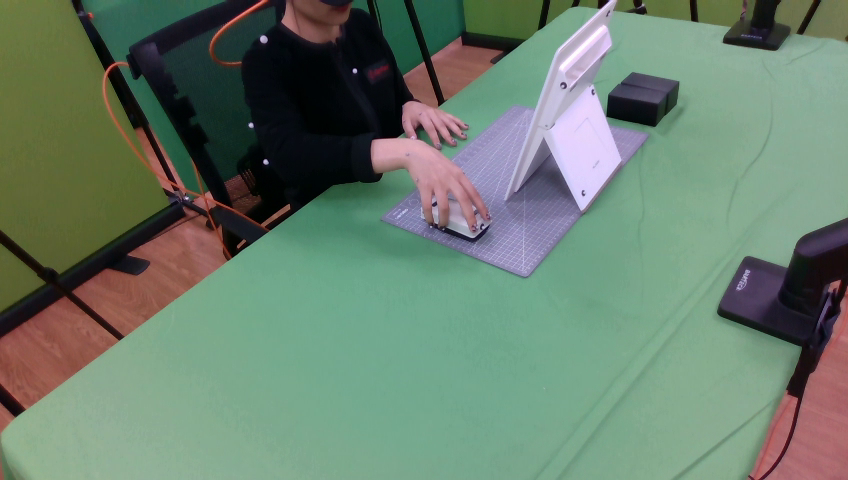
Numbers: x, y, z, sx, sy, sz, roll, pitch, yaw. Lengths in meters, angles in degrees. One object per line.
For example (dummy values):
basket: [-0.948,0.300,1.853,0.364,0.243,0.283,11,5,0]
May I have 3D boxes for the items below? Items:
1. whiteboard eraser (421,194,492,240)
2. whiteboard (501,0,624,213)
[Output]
whiteboard eraser: [0.052,-0.037,0.996,0.112,0.042,0.056,23,49,32]
whiteboard: [0.271,-0.189,0.977,0.143,0.306,0.218,34,53,16]
